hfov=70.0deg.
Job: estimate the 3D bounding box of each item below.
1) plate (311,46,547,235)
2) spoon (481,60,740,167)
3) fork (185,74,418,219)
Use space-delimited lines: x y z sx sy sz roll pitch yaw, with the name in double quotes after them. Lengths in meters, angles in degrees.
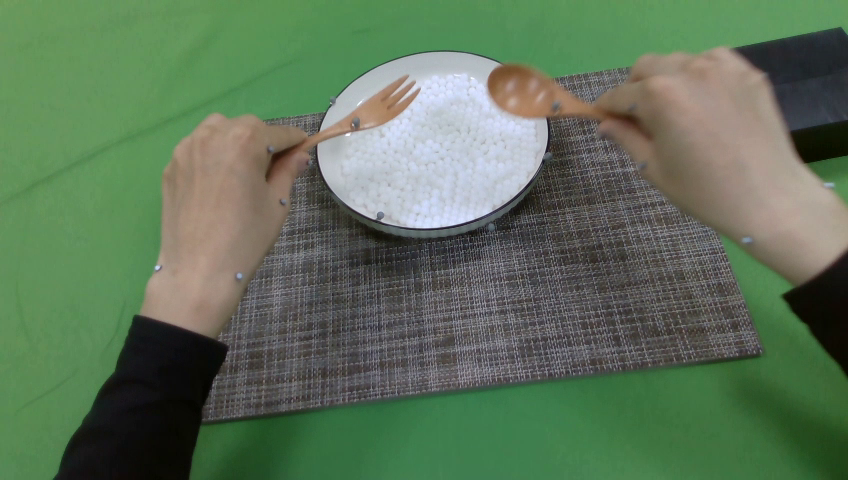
0.004 -0.089 0.545 0.209 0.038 0.207 -3 59 6 "plate"
0.131 -0.089 0.442 0.192 0.022 0.041 24 87 19 "spoon"
-0.092 -0.074 0.471 0.207 0.019 0.028 -33 73 -18 "fork"
